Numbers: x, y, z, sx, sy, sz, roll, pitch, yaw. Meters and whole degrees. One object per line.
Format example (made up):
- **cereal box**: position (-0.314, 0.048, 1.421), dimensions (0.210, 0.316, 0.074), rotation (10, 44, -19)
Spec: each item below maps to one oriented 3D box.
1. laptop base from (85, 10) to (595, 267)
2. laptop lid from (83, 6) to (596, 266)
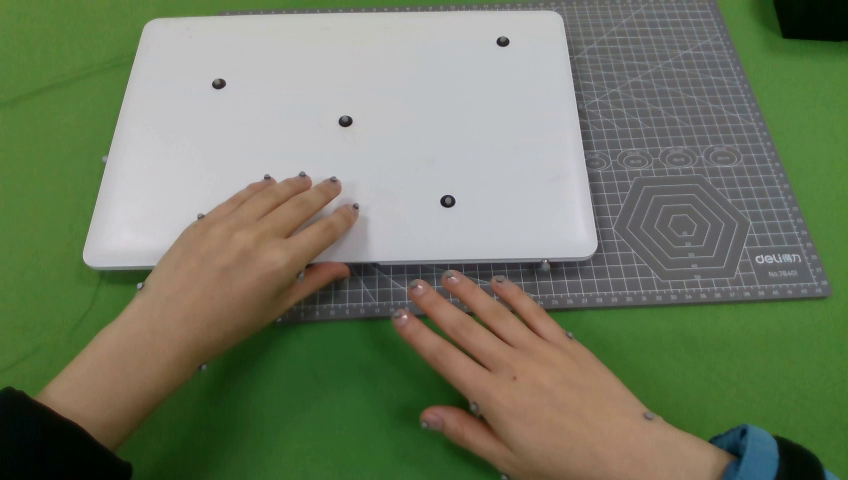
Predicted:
- **laptop base**: position (-0.059, -0.086, 0.470), dimensions (0.354, 0.023, 0.233), rotation (-1, 65, 0)
- **laptop lid**: position (-0.059, -0.090, 0.458), dimensions (0.357, 0.013, 0.239), rotation (0, 64, 1)
